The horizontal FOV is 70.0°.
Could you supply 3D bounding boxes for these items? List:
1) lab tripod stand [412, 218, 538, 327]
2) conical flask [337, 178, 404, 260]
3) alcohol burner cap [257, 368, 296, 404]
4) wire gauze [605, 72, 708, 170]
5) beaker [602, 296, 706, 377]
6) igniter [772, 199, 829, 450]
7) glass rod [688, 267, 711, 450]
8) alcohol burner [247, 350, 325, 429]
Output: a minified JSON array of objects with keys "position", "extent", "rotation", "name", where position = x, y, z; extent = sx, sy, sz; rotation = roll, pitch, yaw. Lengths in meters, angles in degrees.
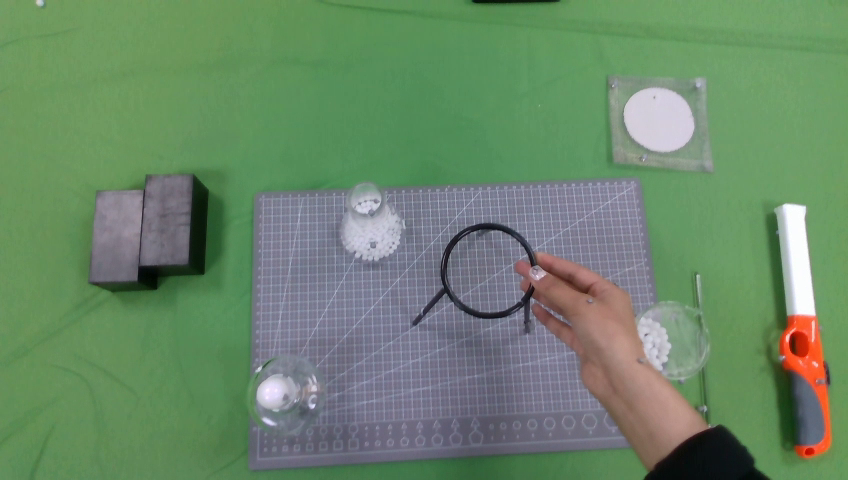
[{"position":[0.055,0.042,0.612],"extent":[0.148,0.132,0.147],"rotation":[0,78,-1],"name":"lab tripod stand"},{"position":[-0.059,-0.027,0.631],"extent":[0.075,0.122,0.075],"rotation":[0,75,-1],"name":"conical flask"},{"position":[-0.137,0.135,0.555],"extent":[0.034,0.048,0.033],"rotation":[1,79,-5],"name":"alcohol burner cap"},{"position":[0.283,-0.148,0.735],"extent":[0.125,0.011,0.121],"rotation":[4,77,-3],"name":"wire gauze"},{"position":[0.233,0.100,0.622],"extent":[0.084,0.100,0.073],"rotation":[-39,80,-11],"name":"beaker"},{"position":[0.416,0.089,0.671],"extent":[0.057,0.025,0.275],"rotation":[6,76,-12],"name":"igniter"},{"position":[0.304,0.127,0.668],"extent":[0.008,0.008,0.198],"rotation":[1,76,-2],"name":"glass rod"},{"position":[-0.138,0.144,0.590],"extent":[0.078,0.119,0.077],"rotation":[0,75,0],"name":"alcohol burner"}]
